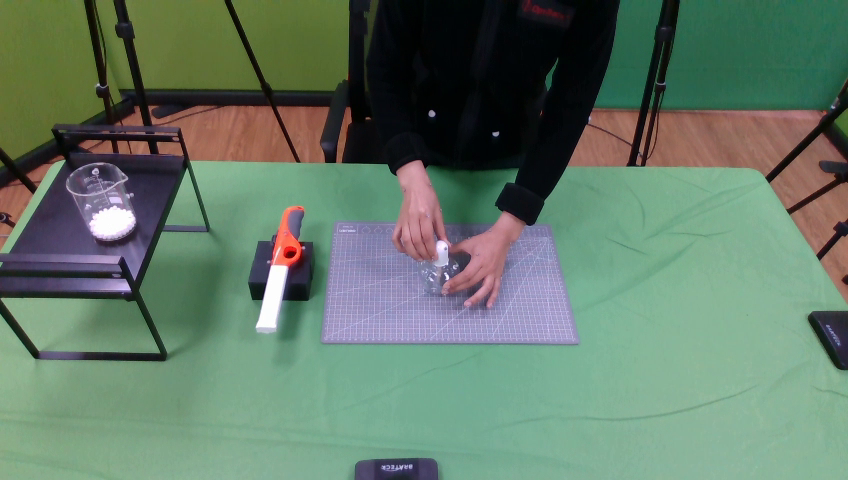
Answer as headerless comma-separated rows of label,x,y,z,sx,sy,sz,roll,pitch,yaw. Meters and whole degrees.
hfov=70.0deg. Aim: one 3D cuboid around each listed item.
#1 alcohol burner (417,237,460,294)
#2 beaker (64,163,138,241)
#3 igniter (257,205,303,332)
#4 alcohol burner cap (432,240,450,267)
alcohol burner,0.026,0.041,1.089,0.078,0.120,0.077,1,46,0
beaker,-0.477,-0.055,0.910,0.084,0.101,0.073,-9,48,-13
igniter,-0.252,0.040,1.070,0.057,0.025,0.275,3,49,-2
alcohol burner cap,0.030,0.020,1.068,0.034,0.048,0.033,-1,45,1
